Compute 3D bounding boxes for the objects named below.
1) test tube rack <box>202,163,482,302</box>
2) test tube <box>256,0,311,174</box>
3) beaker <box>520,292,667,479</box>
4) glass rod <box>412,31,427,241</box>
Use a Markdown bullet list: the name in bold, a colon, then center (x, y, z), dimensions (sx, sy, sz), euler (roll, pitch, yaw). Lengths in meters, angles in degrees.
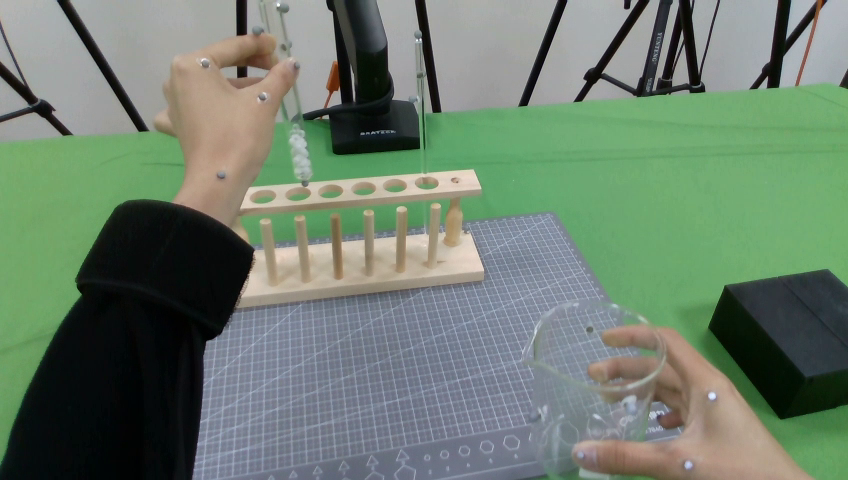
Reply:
- **test tube rack**: center (-0.069, -0.008, 0.556), dimensions (0.243, 0.086, 0.066), euler (-6, 40, -8)
- **test tube**: center (-0.103, -0.111, 0.454), dimensions (0.017, 0.151, 0.017), euler (-1, 45, 1)
- **beaker**: center (0.100, 0.094, 0.378), dimensions (0.084, 0.101, 0.073), euler (-8, 34, -5)
- **glass rod**: center (-0.003, -0.085, 0.547), dimensions (0.008, 0.201, 0.008), euler (-1, 32, 1)
